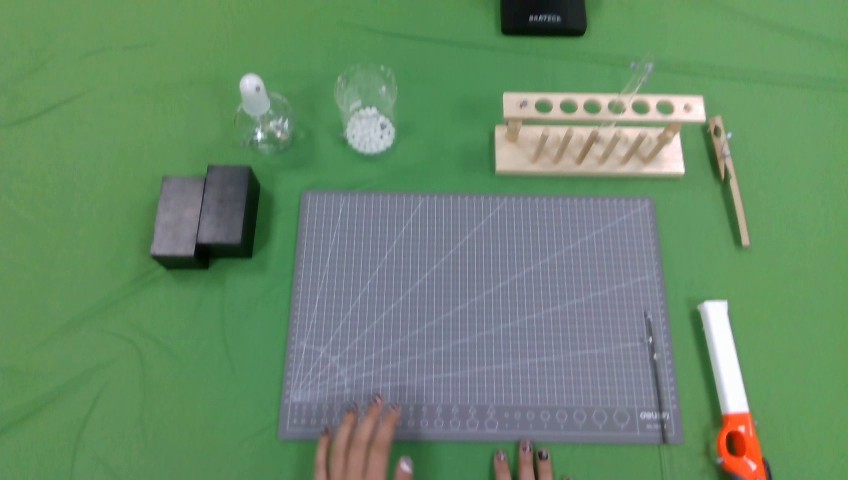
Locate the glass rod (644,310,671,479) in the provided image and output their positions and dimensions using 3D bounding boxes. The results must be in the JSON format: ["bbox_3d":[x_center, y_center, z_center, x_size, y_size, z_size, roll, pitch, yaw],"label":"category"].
[{"bbox_3d":[0.265,0.176,0.689,0.008,0.008,0.198,1,70,-1],"label":"glass rod"}]

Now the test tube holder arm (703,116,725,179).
[{"bbox_3d":[0.385,-0.123,0.800,0.010,0.015,0.087,-18,68,30],"label":"test tube holder arm"}]

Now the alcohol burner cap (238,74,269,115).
[{"bbox_3d":[-0.203,-0.175,0.713,0.034,0.048,0.033,3,64,-5],"label":"alcohol burner cap"}]

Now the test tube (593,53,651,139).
[{"bbox_3d":[0.232,-0.167,0.723,0.017,0.151,0.017,2,66,-5],"label":"test tube"}]

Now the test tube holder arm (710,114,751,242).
[{"bbox_3d":[0.395,-0.082,0.783,0.013,0.015,0.177,-18,68,30],"label":"test tube holder arm"}]

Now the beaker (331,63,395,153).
[{"bbox_3d":[-0.071,-0.162,0.759,0.073,0.101,0.084,39,73,12],"label":"beaker"}]

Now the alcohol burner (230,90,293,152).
[{"bbox_3d":[-0.204,-0.160,0.746,0.078,0.120,0.077,0,68,1],"label":"alcohol burner"}]

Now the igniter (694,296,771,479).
[{"bbox_3d":[0.346,0.197,0.677,0.057,0.025,0.274,1,69,-12],"label":"igniter"}]

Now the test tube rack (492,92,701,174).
[{"bbox_3d":[0.212,-0.133,0.763,0.242,0.085,0.066,1,70,-1],"label":"test tube rack"}]
